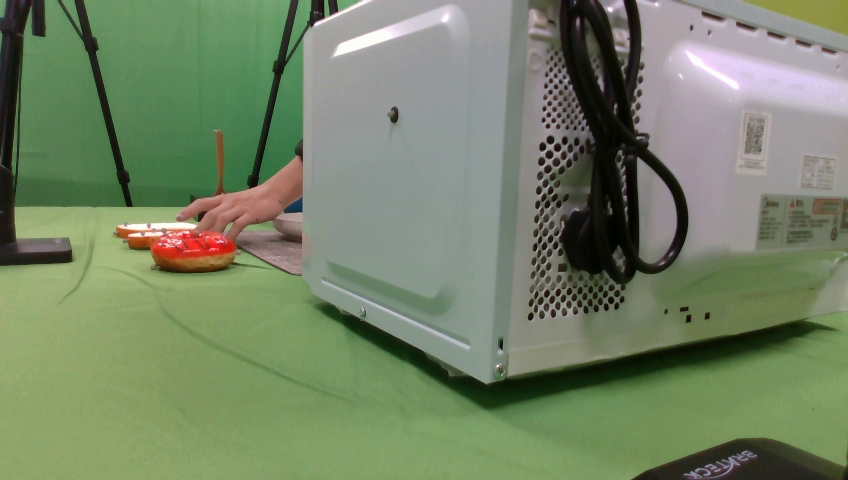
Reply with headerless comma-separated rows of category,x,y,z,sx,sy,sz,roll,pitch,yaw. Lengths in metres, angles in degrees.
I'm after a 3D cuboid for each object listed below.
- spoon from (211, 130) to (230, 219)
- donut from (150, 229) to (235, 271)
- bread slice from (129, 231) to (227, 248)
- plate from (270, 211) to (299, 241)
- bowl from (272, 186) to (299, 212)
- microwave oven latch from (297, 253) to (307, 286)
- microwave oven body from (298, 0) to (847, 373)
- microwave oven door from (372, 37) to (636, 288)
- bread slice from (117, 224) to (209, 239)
spoon,-0.436,-0.138,1.296,0.042,0.193,0.021,-3,23,-27
donut,-0.285,0.013,0.747,0.099,0.048,0.099,3,10,0
bread slice,-0.371,-0.002,0.914,0.135,0.018,0.106,-3,5,-27
plate,-0.163,-0.022,1.058,0.208,0.039,0.207,3,7,0
bowl,-0.254,-0.076,1.318,0.151,0.077,0.151,2,7,0
microwave oven latch,-0.082,0.027,0.582,0.079,0.029,0.030,-1,7,-32
microwave oven body,0.151,-0.055,0.542,0.444,0.260,0.324,-1,7,-33
microwave oven door,0.110,-0.080,0.686,0.358,0.243,0.039,-2,9,-33
bread slice,-0.443,-0.015,1.023,0.104,0.019,0.132,8,8,44
